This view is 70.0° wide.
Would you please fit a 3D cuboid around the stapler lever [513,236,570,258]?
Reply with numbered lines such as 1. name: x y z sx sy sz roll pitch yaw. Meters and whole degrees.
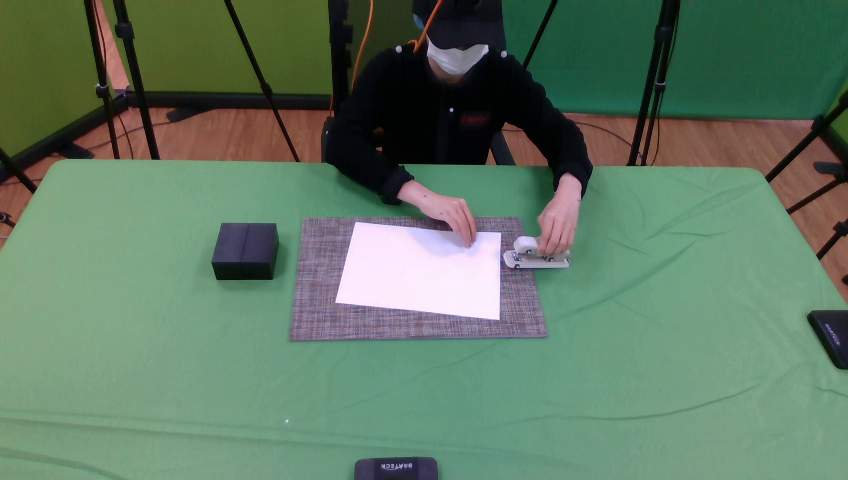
1. stapler lever: 0.226 0.013 1.154 0.118 0.040 0.026 1 49 -16

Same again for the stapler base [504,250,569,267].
1. stapler base: 0.220 0.031 1.171 0.131 0.024 0.041 1 49 -16
